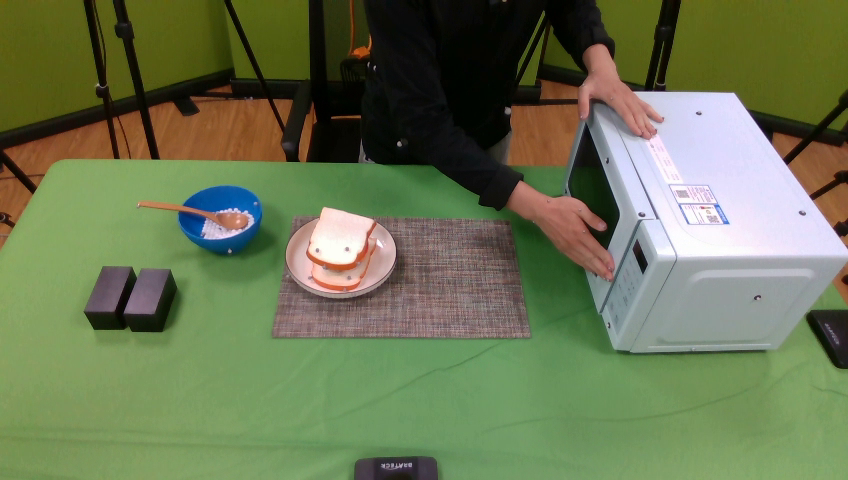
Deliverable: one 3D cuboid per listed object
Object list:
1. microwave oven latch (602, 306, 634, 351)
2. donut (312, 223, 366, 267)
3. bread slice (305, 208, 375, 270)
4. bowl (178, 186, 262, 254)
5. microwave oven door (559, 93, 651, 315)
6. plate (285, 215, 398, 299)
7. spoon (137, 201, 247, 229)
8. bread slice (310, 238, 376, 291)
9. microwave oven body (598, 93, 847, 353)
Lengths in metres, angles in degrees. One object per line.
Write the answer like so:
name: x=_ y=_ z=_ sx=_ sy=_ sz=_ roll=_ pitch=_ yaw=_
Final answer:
microwave oven latch: x=0.332 y=0.153 z=1.044 sx=0.030 sy=0.029 sz=0.078 roll=-1 pitch=45 yaw=-4
donut: x=-0.157 y=0.010 z=1.120 sx=0.099 sy=0.048 sz=0.098 roll=1 pitch=45 yaw=-1
bread slice: x=-0.154 y=-0.001 z=1.095 sx=0.105 sy=0.019 sz=0.131 roll=15 pitch=48 yaw=1
bowl: x=-0.383 y=-0.026 z=1.158 sx=0.151 sy=0.077 sz=0.150 roll=2 pitch=46 yaw=-2
microwave oven door: x=0.324 y=-0.074 z=1.123 sx=0.039 sy=0.245 sz=0.353 roll=0 pitch=46 yaw=-4
plate: x=-0.154 y=0.034 z=1.140 sx=0.208 sy=0.039 sz=0.206 roll=2 pitch=46 yaw=-2
spoon: x=-0.431 y=-0.052 z=1.134 sx=0.194 sy=0.022 sz=0.041 roll=14 pitch=45 yaw=-22
bread slice: x=-0.154 y=0.039 z=1.135 sx=0.107 sy=0.018 sz=0.133 roll=6 pitch=46 yaw=3
microwave oven body: x=0.476 y=-0.041 z=1.109 sx=0.326 sy=0.261 sz=0.438 roll=-1 pitch=45 yaw=-4
